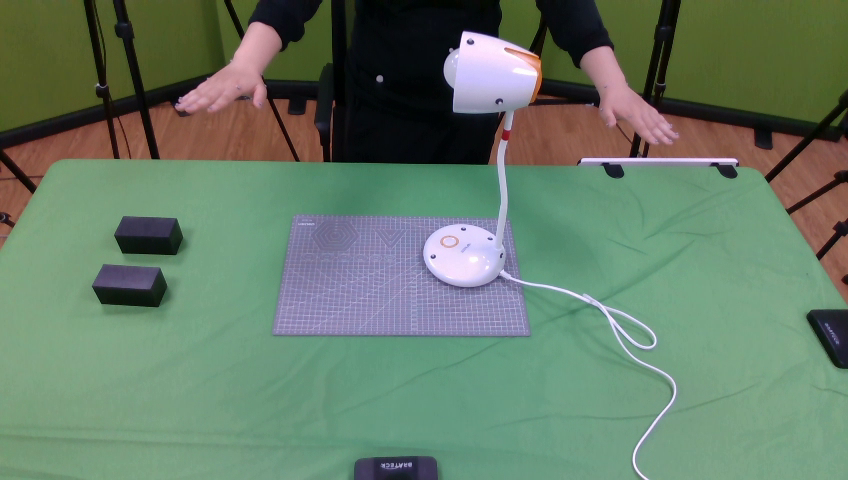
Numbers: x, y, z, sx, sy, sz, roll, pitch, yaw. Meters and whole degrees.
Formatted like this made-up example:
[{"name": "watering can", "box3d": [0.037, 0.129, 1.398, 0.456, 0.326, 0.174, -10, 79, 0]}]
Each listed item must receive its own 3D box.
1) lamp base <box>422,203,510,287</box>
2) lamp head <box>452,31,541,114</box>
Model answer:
[{"name": "lamp base", "box3d": [0.092, -0.021, 1.111, 0.179, 0.181, 0.160, 23, 49, 14]}, {"name": "lamp head", "box3d": [0.102, -0.228, 0.858, 0.123, 0.113, 0.112, 11, 46, 0]}]
